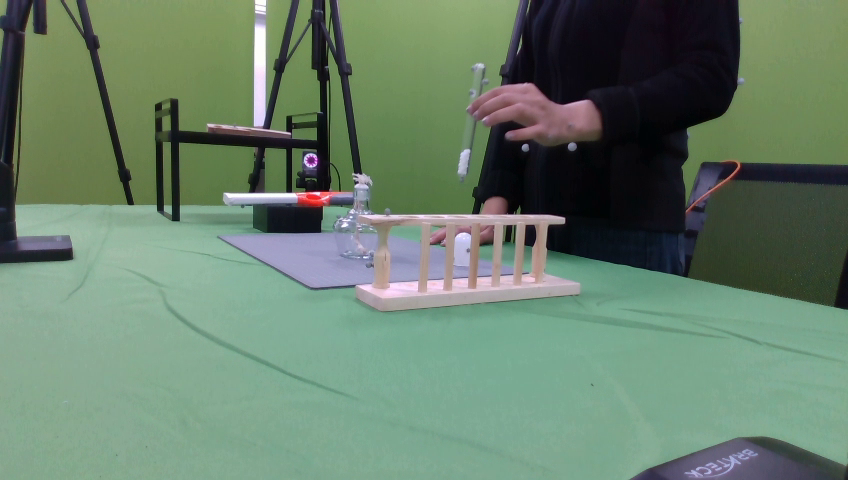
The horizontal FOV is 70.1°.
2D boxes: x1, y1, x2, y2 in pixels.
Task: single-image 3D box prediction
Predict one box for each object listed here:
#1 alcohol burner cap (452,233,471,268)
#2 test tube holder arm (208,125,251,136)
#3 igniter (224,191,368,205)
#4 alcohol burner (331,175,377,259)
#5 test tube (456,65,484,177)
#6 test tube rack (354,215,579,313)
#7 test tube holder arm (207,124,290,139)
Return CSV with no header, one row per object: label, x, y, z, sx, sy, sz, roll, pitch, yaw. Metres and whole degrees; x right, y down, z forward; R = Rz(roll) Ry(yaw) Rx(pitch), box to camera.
alcohol burner cap,0.053,0.014,0.823,0.034,0.048,0.034,3,7,0
test tube holder arm,-0.418,-0.234,1.300,0.088,0.015,0.010,1,42,-32
igniter,-0.237,-0.079,1.157,0.278,0.025,0.057,-2,21,-32
alcohol burner,-0.091,-0.033,0.855,0.078,0.119,0.078,4,7,0
test tube,0.062,-0.159,0.816,0.017,0.150,0.017,9,7,-1
test tube rack,0.053,0.019,0.635,0.243,0.085,0.066,-1,8,-29
test tube holder arm,-0.381,-0.238,1.327,0.179,0.015,0.013,0,42,-33
